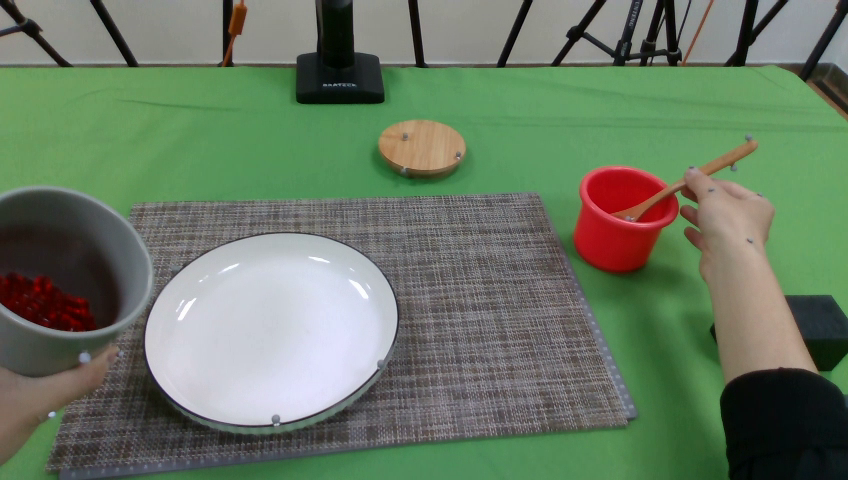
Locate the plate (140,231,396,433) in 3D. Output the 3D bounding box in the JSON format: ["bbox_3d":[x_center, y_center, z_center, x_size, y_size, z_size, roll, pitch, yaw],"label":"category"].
[{"bbox_3d":[-0.129,0.076,0.522,0.208,0.039,0.205,3,44,-3],"label":"plate"}]

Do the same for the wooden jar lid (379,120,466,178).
[{"bbox_3d":[-0.002,-0.113,0.749,0.108,0.021,0.107,4,45,-3],"label":"wooden jar lid"}]

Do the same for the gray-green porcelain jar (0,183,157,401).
[{"bbox_3d":[-0.256,0.040,0.397,0.107,0.126,0.105,34,37,-30],"label":"gray-green porcelain jar"}]

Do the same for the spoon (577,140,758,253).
[{"bbox_3d":[0.243,-0.043,0.611,0.022,0.194,0.041,30,34,-43],"label":"spoon"}]
